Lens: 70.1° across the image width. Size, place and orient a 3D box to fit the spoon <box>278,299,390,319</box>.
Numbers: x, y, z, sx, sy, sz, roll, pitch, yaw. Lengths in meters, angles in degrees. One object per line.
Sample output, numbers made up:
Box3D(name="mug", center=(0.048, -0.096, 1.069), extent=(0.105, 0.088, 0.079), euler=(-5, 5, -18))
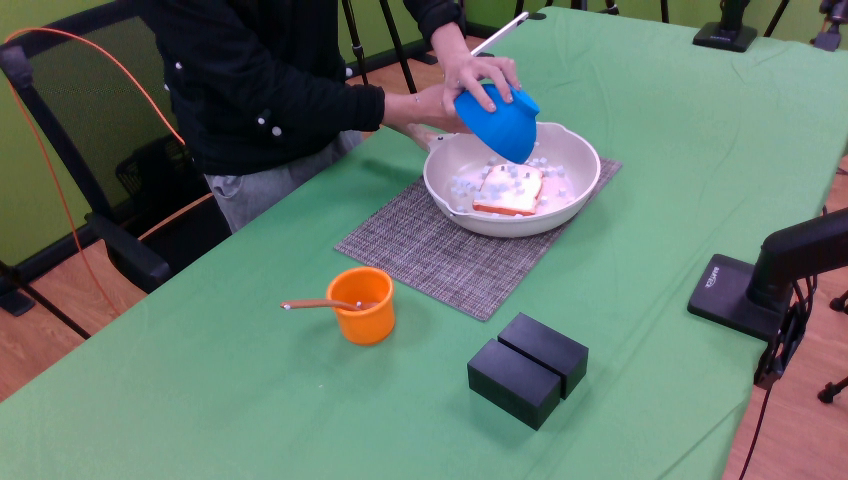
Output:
Box3D(name="spoon", center=(-0.113, 0.086, 0.787), extent=(0.041, 0.021, 0.195), euler=(28, 7, 36))

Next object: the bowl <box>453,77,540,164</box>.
Box3D(name="bowl", center=(0.128, -0.198, 0.941), extent=(0.152, 0.076, 0.150), euler=(34, 27, -19))

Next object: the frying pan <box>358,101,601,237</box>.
Box3D(name="frying pan", center=(0.067, -0.153, 1.067), extent=(0.484, 0.103, 0.308), euler=(32, 52, 26))

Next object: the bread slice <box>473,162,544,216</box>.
Box3D(name="bread slice", center=(0.150, -0.088, 1.041), extent=(0.106, 0.018, 0.134), euler=(7, 45, 16))
